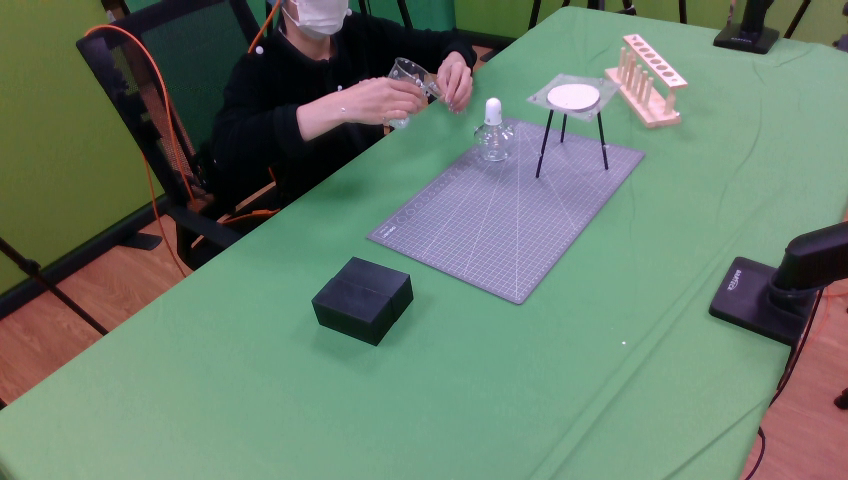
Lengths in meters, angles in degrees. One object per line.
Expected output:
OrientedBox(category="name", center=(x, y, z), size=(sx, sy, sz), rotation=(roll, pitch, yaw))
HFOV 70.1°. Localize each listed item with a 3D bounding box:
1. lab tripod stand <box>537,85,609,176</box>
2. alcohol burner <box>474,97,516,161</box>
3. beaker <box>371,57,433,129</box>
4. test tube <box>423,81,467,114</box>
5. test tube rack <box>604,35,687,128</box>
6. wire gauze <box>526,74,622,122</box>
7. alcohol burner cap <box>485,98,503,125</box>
OrientedBox(category="lab tripod stand", center=(0.259, -0.192, 1.068), size=(0.148, 0.132, 0.147), rotation=(-4, 42, 4))
OrientedBox(category="alcohol burner", center=(0.131, -0.208, 1.121), size=(0.078, 0.119, 0.077), rotation=(-6, 40, 5))
OrientedBox(category="beaker", center=(-0.039, -0.249, 1.045), size=(0.073, 0.085, 0.100), rotation=(26, 86, 39))
OrientedBox(category="test tube", center=(0.042, -0.267, 1.140), size=(0.017, 0.017, 0.151), rotation=(25, 6, 32))
OrientedBox(category="test tube rack", center=(0.447, -0.330, 1.241), size=(0.067, 0.085, 0.241), rotation=(-9, 41, -1))
OrientedBox(category="wire gauze", center=(0.255, -0.248, 1.030), size=(0.124, 0.011, 0.122), rotation=(24, 51, 32))
OrientedBox(category="alcohol burner cap", center=(0.126, -0.234, 1.097), size=(0.034, 0.048, 0.033), rotation=(-3, 39, 3))
